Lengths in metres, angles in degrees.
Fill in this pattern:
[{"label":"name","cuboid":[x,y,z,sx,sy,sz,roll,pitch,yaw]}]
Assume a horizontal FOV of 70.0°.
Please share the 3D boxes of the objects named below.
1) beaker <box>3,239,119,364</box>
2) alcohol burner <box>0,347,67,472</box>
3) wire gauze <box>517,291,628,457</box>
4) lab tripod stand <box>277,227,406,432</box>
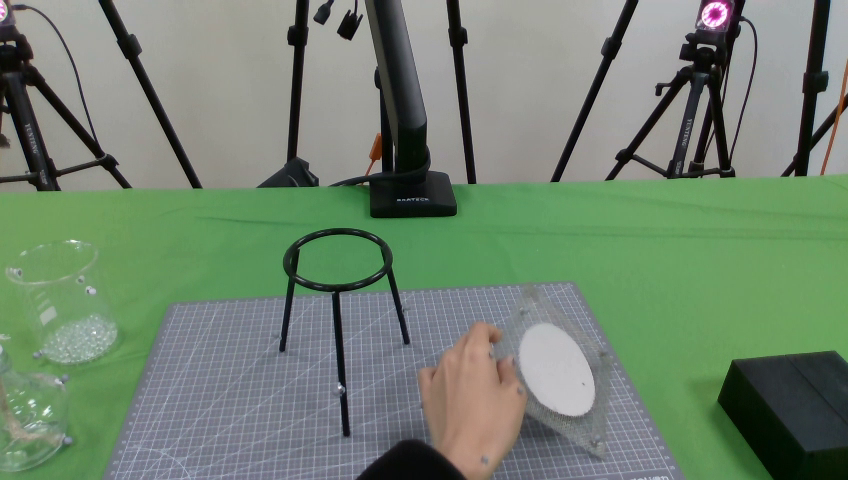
[{"label":"beaker","cuboid":[-0.334,0.058,0.570,0.074,0.101,0.083,4,31,3]},{"label":"alcohol burner","cuboid":[-0.320,0.117,0.461,0.078,0.120,0.077,2,30,-1]},{"label":"wire gauze","cuboid":[0.128,0.111,0.516,0.126,0.011,0.120,31,38,-27]},{"label":"lab tripod stand","cuboid":[-0.072,0.069,0.530,0.148,0.132,0.147,3,33,-2]}]
